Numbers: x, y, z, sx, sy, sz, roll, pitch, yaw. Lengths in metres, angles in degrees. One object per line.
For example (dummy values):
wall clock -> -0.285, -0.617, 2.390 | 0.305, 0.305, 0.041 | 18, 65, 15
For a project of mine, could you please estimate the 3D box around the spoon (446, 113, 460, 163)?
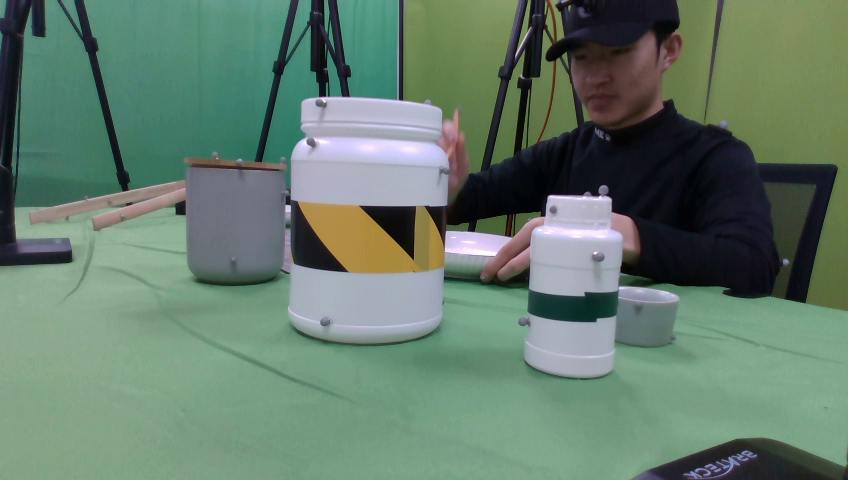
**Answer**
spoon -> 0.037, -0.130, 0.879 | 0.022, 0.041, 0.193 | 24, 43, -5

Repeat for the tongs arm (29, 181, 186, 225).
tongs arm -> -0.609, -0.083, 1.245 | 0.050, 0.026, 0.386 | 5, 16, 23

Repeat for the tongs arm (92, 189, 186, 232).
tongs arm -> -0.534, -0.076, 1.221 | 0.028, 0.028, 0.388 | -2, 15, 12

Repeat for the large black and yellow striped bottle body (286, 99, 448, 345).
large black and yellow striped bottle body -> -0.047, -0.018, 0.501 | 0.131, 0.184, 0.130 | 2, 7, 0

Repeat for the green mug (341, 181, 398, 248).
green mug -> -0.089, -0.044, 0.997 | 0.093, 0.105, 0.125 | 1, 7, -8

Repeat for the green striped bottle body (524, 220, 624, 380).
green striped bottle body -> 0.104, 0.031, 0.422 | 0.063, 0.119, 0.063 | 2, 8, 0

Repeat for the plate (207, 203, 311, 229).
plate -> -0.342, -0.050, 1.259 | 0.208, 0.039, 0.207 | 2, 7, 0

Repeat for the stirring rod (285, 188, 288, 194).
stirring rod -> -0.353, -0.122, 1.518 | 0.006, 0.014, 0.176 | 1, 6, 1

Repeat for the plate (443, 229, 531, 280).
plate -> 0.056, 0.019, 0.814 | 0.209, 0.038, 0.209 | 4, 9, 0

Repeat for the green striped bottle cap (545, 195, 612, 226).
green striped bottle cap -> 0.106, -0.020, 0.414 | 0.044, 0.020, 0.044 | 2, 4, 0

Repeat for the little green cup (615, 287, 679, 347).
little green cup -> 0.180, 0.064, 0.506 | 0.061, 0.038, 0.061 | 1, 8, 0

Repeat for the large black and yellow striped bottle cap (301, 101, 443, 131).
large black and yellow striped bottle cap -> -0.042, -0.100, 0.491 | 0.115, 0.019, 0.115 | 1, 8, 0

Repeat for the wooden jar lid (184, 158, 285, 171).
wooden jar lid -> -0.210, -0.078, 0.674 | 0.108, 0.020, 0.108 | 5, 6, 0

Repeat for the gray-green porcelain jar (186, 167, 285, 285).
gray-green porcelain jar -> -0.212, -0.017, 0.682 | 0.106, 0.126, 0.106 | 2, 7, 0
